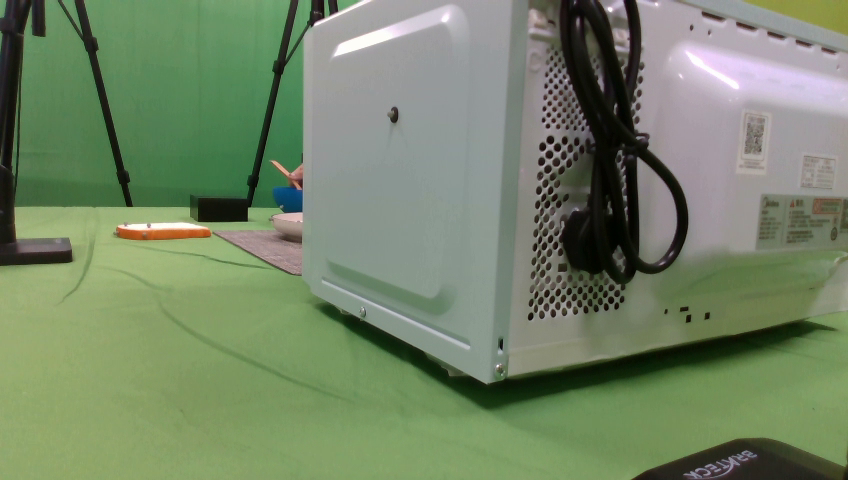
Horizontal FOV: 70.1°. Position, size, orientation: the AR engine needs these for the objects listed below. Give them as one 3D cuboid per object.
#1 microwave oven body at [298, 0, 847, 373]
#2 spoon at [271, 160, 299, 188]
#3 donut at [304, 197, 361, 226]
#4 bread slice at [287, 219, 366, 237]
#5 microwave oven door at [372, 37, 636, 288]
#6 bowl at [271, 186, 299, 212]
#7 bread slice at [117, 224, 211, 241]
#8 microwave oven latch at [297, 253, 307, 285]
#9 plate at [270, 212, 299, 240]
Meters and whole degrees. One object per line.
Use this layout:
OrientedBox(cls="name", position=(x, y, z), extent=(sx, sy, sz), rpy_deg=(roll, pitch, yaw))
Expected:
OrientedBox(cls="microwave oven body", position=(0.151, -0.055, 0.542), extent=(0.444, 0.260, 0.324), rpy_deg=(-2, 7, -33))
OrientedBox(cls="spoon", position=(-0.289, -0.125, 1.350), extent=(0.042, 0.021, 0.193), rpy_deg=(-11, 50, -44))
OrientedBox(cls="donut", position=(-0.160, -0.050, 1.055), extent=(0.099, 0.048, 0.099), rpy_deg=(3, 8, 0))
OrientedBox(cls="bread slice", position=(-0.170, -0.022, 1.056), extent=(0.134, 0.018, 0.107), rpy_deg=(2, 7, -6))
OrientedBox(cls="microwave oven door", position=(0.109, -0.080, 0.686), extent=(0.358, 0.243, 0.039), rpy_deg=(-2, 9, -33))
OrientedBox(cls="bowl", position=(-0.255, -0.076, 1.318), extent=(0.151, 0.077, 0.151), rpy_deg=(1, 7, 0))
OrientedBox(cls="bread slice", position=(-0.443, -0.015, 1.022), extent=(0.132, 0.019, 0.104), rpy_deg=(-3, 8, -45))
OrientedBox(cls="microwave oven latch", position=(-0.081, 0.027, 0.582), extent=(0.079, 0.029, 0.030), rpy_deg=(-1, 7, -32))
OrientedBox(cls="plate", position=(-0.162, -0.022, 1.058), extent=(0.208, 0.039, 0.207), rpy_deg=(2, 7, 0))
